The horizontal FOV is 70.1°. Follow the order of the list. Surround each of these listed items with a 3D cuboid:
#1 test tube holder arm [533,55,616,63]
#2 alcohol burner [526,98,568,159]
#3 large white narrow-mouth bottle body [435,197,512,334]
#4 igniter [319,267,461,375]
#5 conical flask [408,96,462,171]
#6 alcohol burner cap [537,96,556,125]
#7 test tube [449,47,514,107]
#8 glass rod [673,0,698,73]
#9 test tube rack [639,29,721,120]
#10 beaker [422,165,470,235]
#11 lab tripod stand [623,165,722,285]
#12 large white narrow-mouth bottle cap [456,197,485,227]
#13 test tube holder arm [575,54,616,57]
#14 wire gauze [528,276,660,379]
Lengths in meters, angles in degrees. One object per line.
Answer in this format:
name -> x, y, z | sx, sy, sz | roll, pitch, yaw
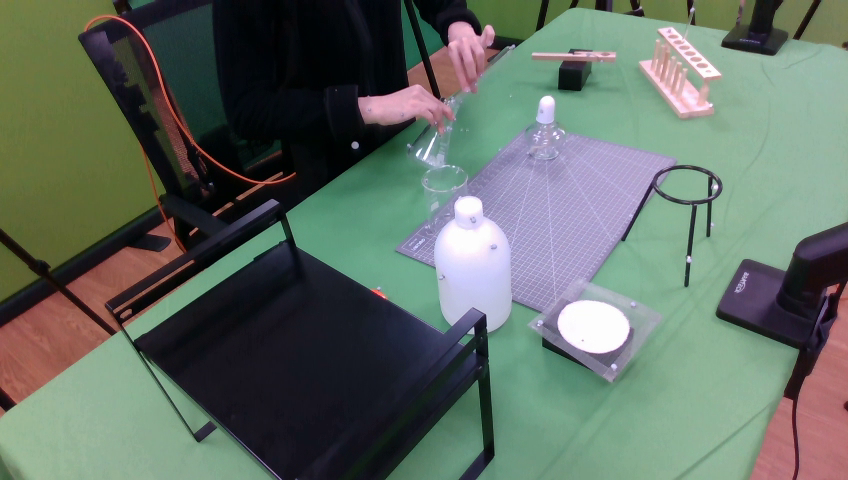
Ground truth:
test tube holder arm -> 0.329, -0.398, 1.327 | 0.178, 0.015, 0.013 | 5, 50, 15
alcohol burner -> 0.228, -0.210, 1.118 | 0.078, 0.119, 0.077 | -5, 43, 5
large white narrow-mouth bottle body -> 0.066, 0.028, 0.805 | 0.102, 0.195, 0.101 | -4, 40, 4
igniter -> -0.060, 0.108, 0.862 | 0.274, 0.025, 0.057 | 28, 62, 35
conical flask -> 0.026, -0.190, 1.066 | 0.075, 0.122, 0.075 | 22, 13, -5
alcohol burner cap -> 0.223, -0.237, 1.095 | 0.034, 0.048, 0.033 | 0, 42, 1
test tube -> 0.102, -0.288, 1.064 | 0.150, 0.017, 0.017 | -43, 47, -6
glass rod -> 0.537, -0.425, 1.244 | 0.008, 0.200, 0.008 | 0, 47, 0
test tube rack -> 0.527, -0.351, 1.262 | 0.067, 0.085, 0.241 | -8, 40, 1
beaker -> 0.041, -0.063, 0.986 | 0.073, 0.101, 0.084 | 20, 47, 29
lab tripod stand -> 0.365, -0.030, 0.874 | 0.148, 0.132, 0.147 | -6, 41, 6
large white narrow-mouth bottle cap -> 0.058, -0.035, 0.750 | 0.038, 0.024, 0.037 | -4, 40, 4
test tube holder arm -> 0.373, -0.398, 1.318 | 0.087, 0.015, 0.010 | 5, 51, 15
wire gauze -> 0.214, 0.103, 0.763 | 0.124, 0.011, 0.122 | 30, 52, 35
